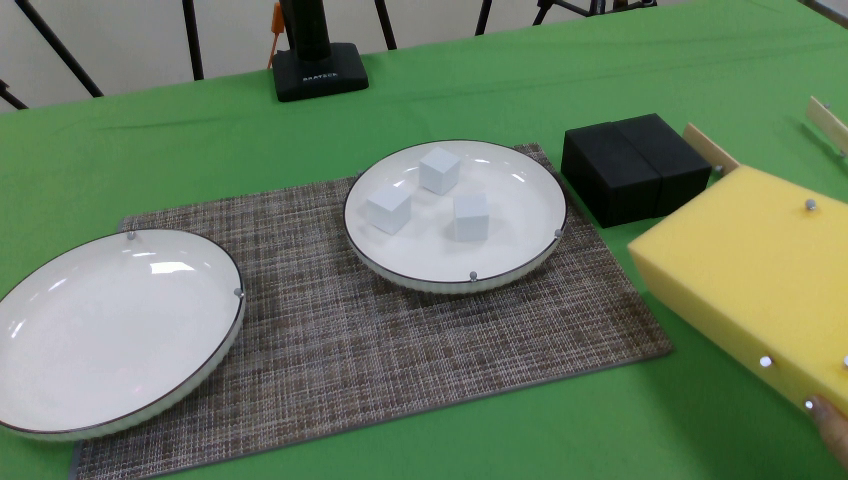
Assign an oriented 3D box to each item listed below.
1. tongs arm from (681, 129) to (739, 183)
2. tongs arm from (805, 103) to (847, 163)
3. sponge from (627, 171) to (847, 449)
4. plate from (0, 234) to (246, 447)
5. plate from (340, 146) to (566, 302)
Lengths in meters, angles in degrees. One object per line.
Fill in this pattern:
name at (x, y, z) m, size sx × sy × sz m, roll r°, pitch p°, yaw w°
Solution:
tongs arm at (0.356, 0.005, 0.540) m, size 0.028 × 0.028 × 0.383 m, roll -14°, pitch 44°, yaw -14°
tongs arm at (0.435, -0.012, 0.547) m, size 0.051 × 0.027 × 0.380 m, roll -8°, pitch 44°, yaw -3°
sponge at (0.257, 0.037, 0.422) m, size 0.118 × 0.061 × 0.204 m, roll -37°, pitch 30°, yaw -1°
plate at (-0.247, 0.077, 0.492) m, size 0.209 × 0.038 × 0.207 m, roll -2°, pitch 42°, yaw 2°
plate at (0.027, -0.015, 0.573) m, size 0.207 × 0.039 × 0.205 m, roll -2°, pitch 43°, yaw 2°
